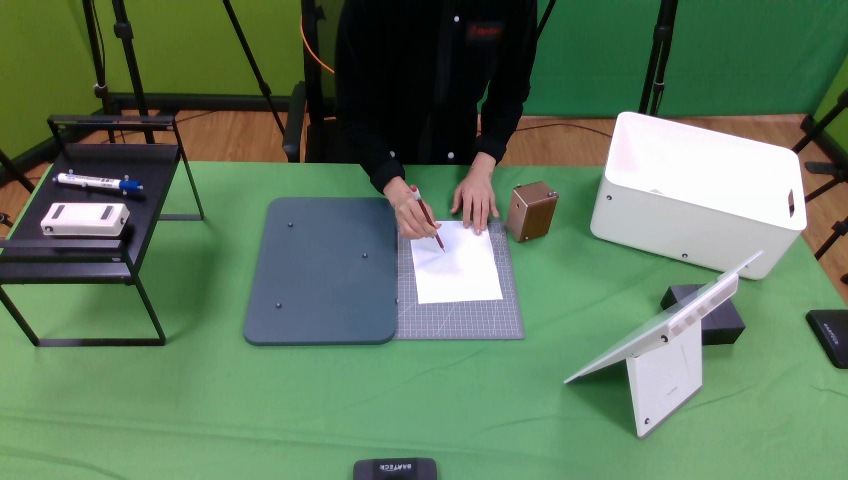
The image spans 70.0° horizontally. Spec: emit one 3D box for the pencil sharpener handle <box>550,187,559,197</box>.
[{"bbox_3d":[0.261,-0.084,1.221,0.031,0.068,0.036,-16,65,-19],"label":"pencil sharpener handle"}]

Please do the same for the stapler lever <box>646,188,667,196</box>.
[{"bbox_3d":[0.507,-0.075,1.262,0.027,0.040,0.117,-14,46,-19],"label":"stapler lever"}]

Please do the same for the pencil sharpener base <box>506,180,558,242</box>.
[{"bbox_3d":[0.216,-0.058,1.211,0.077,0.107,0.061,-16,49,-19],"label":"pencil sharpener base"}]

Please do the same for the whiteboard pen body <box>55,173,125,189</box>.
[{"bbox_3d":[-0.539,-0.095,0.998,0.141,0.017,0.017,7,46,6],"label":"whiteboard pen body"}]

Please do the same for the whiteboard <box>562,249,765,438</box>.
[{"bbox_3d":[0.386,0.175,0.905,0.217,0.306,0.143,-26,72,-26],"label":"whiteboard"}]

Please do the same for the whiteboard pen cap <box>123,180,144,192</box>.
[{"bbox_3d":[-0.479,-0.089,0.993,0.033,0.018,0.018,7,46,14],"label":"whiteboard pen cap"}]

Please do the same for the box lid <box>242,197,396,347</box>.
[{"bbox_3d":[-0.186,0.046,1.147,0.263,0.015,0.369,0,46,-3],"label":"box lid"}]

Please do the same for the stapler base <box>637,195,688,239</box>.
[{"bbox_3d":[0.507,-0.055,1.280,0.041,0.024,0.129,-14,47,-19],"label":"stapler base"}]

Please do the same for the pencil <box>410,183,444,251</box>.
[{"bbox_3d":[0.009,-0.037,1.109,0.012,0.195,0.012,-11,50,14],"label":"pencil"}]

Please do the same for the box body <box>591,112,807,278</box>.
[{"bbox_3d":[0.540,-0.092,1.230,0.363,0.161,0.253,16,47,11],"label":"box body"}]

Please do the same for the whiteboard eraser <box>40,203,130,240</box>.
[{"bbox_3d":[-0.513,-0.028,0.922,0.113,0.042,0.055,1,48,-3],"label":"whiteboard eraser"}]
